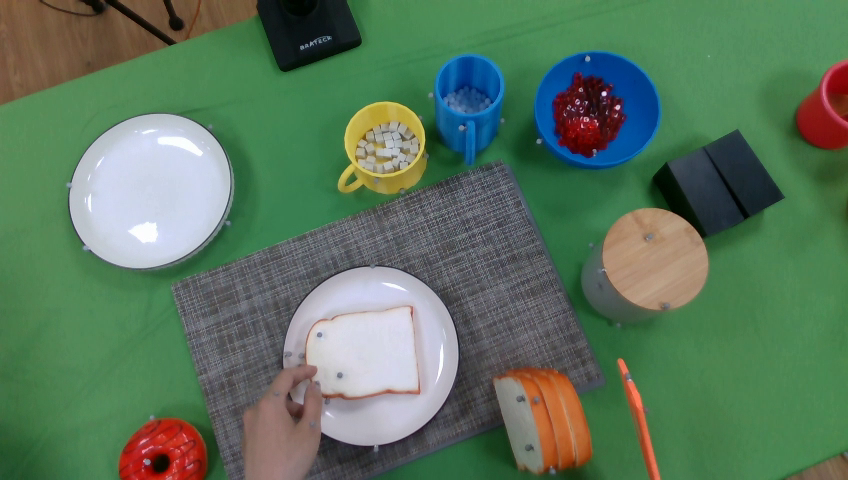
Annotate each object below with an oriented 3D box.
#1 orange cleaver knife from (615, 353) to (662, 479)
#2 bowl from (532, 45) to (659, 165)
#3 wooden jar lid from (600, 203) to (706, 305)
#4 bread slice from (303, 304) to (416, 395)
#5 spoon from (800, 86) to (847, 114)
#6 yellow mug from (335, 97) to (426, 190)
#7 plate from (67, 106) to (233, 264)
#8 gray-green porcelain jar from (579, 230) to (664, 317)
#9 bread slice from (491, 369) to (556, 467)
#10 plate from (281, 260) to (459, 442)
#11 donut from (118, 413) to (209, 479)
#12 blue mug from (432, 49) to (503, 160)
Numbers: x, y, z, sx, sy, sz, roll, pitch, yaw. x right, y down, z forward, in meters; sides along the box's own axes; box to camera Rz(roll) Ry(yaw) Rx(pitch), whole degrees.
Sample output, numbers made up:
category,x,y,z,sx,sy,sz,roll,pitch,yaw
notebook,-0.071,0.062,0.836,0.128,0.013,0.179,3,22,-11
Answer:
category,x,y,z,sx,sy,sz,roll,pitch,yaw
orange cleaver knife,0.220,0.214,0.590,0.012,0.077,0.211,-17,97,8
bowl,0.206,-0.156,0.759,0.151,0.077,0.150,0,77,2
wooden jar lid,0.235,0.015,0.628,0.108,0.021,0.108,0,77,-1
bread slice,-0.075,0.131,0.712,0.132,0.019,0.104,-3,73,-14
spoon,0.558,-0.175,0.719,0.192,0.022,0.041,4,66,49
yellow mug,-0.060,-0.111,0.762,0.131,0.064,0.099,-42,78,-7
plate,-0.344,-0.068,0.774,0.207,0.039,0.206,0,77,1
gray-green porcelain jar,0.238,0.030,0.689,0.106,0.127,0.105,0,76,1
bread slice,0.106,0.187,0.651,0.018,0.135,0.106,-13,74,-10
plate,-0.062,0.128,0.715,0.209,0.038,0.208,0,77,2
donut,-0.296,0.249,0.694,0.099,0.048,0.098,0,76,-1
blue mug,0.053,-0.158,0.750,0.082,0.106,0.116,-1,76,2
